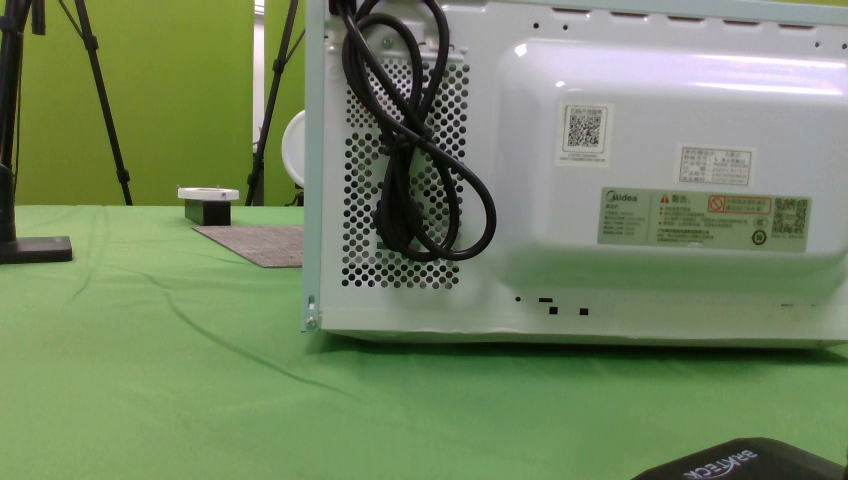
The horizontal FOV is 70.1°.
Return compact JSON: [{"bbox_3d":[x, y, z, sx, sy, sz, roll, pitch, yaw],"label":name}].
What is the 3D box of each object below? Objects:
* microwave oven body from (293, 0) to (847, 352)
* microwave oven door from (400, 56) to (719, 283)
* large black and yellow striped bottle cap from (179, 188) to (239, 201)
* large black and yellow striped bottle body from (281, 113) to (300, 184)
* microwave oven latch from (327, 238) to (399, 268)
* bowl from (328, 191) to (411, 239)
[{"bbox_3d":[0.122,-0.055,0.550,0.442,0.260,0.325,3,7,-5],"label":"microwave oven body"},{"bbox_3d":[0.155,-0.077,0.698,0.356,0.243,0.039,2,8,-5],"label":"microwave oven door"},{"bbox_3d":[-0.434,-0.093,1.226,0.115,0.019,0.115,3,9,0],"label":"large black and yellow striped bottle cap"},{"bbox_3d":[-0.129,-0.141,0.983,0.130,0.130,0.184,6,6,21],"label":"large black and yellow striped bottle body"},{"bbox_3d":[-0.069,0.015,0.694,0.079,0.029,0.030,3,7,-3],"label":"microwave oven latch"},{"bbox_3d":[-0.100,-0.046,1.104,0.151,0.077,0.151,3,8,0],"label":"bowl"}]
